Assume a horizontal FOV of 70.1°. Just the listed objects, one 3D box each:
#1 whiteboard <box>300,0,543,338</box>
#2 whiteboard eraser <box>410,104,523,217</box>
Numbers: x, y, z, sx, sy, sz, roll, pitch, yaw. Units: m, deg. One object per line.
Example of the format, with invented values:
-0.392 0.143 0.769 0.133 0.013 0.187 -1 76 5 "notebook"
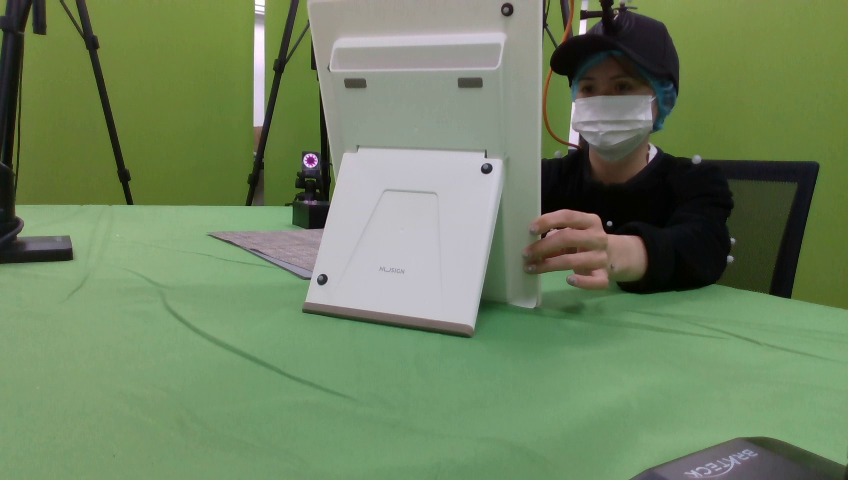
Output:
-0.020 -0.050 0.523 0.216 0.305 0.144 6 28 22 "whiteboard"
0.039 -0.075 0.587 0.112 0.055 0.042 -43 5 33 "whiteboard eraser"
